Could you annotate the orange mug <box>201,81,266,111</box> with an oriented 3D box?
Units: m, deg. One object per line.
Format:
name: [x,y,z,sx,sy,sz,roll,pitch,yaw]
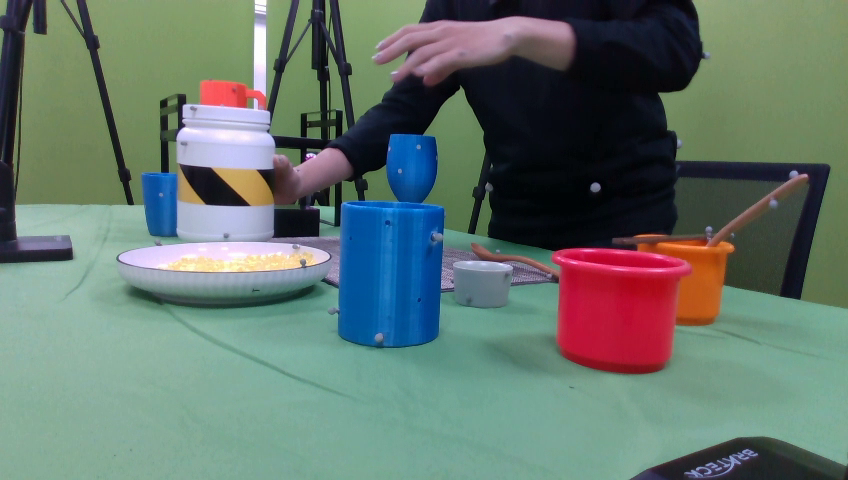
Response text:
orange mug: [-0.376,-0.260,1.198,0.126,0.101,0.083,-3,8,-6]

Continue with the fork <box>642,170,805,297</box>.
fork: [0.261,0.004,0.545,0.028,0.018,0.207,5,-38,-15]

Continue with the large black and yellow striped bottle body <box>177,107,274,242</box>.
large black and yellow striped bottle body: [-0.281,-0.092,0.863,0.131,0.184,0.130,3,10,0]

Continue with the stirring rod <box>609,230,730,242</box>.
stirring rod: [0.241,-0.004,0.582,0.177,0.006,0.014,-3,10,-33]

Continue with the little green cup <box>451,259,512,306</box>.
little green cup: [0.057,0.043,0.612,0.061,0.038,0.061,3,7,0]

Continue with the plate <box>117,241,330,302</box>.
plate: [-0.203,0.031,0.630,0.209,0.038,0.209,3,7,0]

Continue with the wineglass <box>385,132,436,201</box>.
wineglass: [-0.020,-0.061,0.838,0.074,0.172,0.073,2,7,0]

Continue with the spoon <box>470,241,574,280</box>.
spoon: [0.124,0.025,0.800,0.042,0.021,0.192,25,-7,-34]

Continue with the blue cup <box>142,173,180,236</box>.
blue cup: [-0.425,-0.060,1.014,0.093,0.100,0.092,3,9,0]

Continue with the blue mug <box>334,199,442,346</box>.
blue mug: [-0.034,0.020,0.498,0.083,0.106,0.116,0,7,-19]

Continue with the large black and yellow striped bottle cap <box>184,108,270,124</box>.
large black and yellow striped bottle cap: [-0.276,-0.175,0.849,0.115,0.019,0.115,2,10,0]
